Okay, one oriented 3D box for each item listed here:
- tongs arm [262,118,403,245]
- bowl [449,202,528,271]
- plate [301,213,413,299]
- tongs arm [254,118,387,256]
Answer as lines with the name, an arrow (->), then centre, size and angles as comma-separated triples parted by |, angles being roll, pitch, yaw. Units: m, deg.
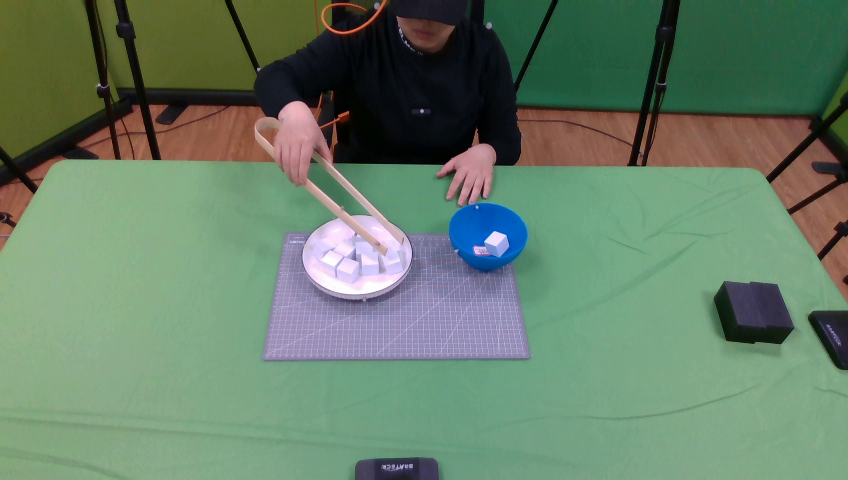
tongs arm -> -0.179, -0.118, 1.159 | 0.386, 0.028, 0.028 | 42, 60, 17
bowl -> 0.118, 0.006, 1.160 | 0.151, 0.077, 0.150 | 2, 46, -2
plate -> -0.124, 0.033, 1.143 | 0.208, 0.039, 0.206 | 2, 46, -2
tongs arm -> -0.197, -0.105, 1.145 | 0.383, 0.026, 0.050 | 39, 56, 16
